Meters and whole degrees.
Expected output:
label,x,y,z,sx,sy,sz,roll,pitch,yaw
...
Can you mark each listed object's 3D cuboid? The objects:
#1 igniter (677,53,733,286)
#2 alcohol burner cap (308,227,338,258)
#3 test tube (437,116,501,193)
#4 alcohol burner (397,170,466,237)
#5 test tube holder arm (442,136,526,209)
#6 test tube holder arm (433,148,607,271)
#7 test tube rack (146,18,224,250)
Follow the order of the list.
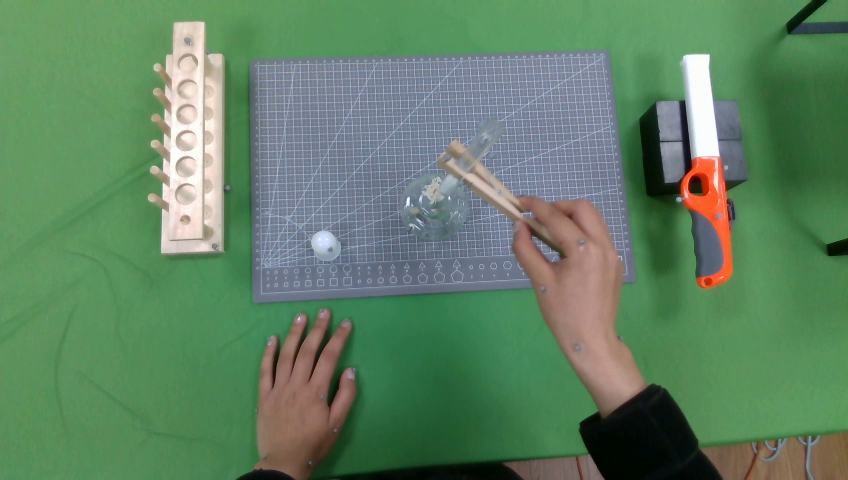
label,x,y,z,sx,sy,sz,roll,pitch,yaw
igniter,0.318,-0.084,0.695,0.057,0.025,0.275,0,79,2
alcohol burner cap,-0.115,0.000,0.686,0.034,0.048,0.033,1,78,-3
test tube,0.034,-0.067,0.513,0.017,0.150,0.017,3,77,-12
alcohol burner,0.009,-0.044,0.667,0.078,0.119,0.077,0,81,-2
test tube holder arm,0.052,-0.055,0.522,0.088,0.015,0.010,43,69,-4
test tube holder arm,0.085,-0.024,0.525,0.179,0.015,0.013,35,71,-6
test tube rack,-0.269,-0.115,0.678,0.067,0.085,0.241,-2,80,-3
